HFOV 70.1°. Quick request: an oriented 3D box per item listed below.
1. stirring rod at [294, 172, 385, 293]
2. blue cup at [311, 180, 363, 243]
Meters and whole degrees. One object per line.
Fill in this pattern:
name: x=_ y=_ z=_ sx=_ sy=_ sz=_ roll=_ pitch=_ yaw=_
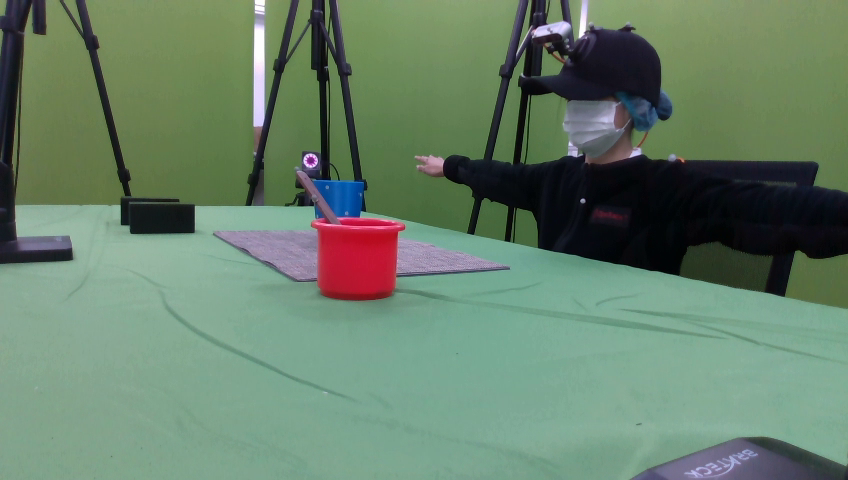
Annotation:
stirring rod: x=-0.092 y=-0.012 z=0.639 sx=0.014 sy=0.006 sz=0.175 roll=-2 pitch=48 yaw=-53
blue cup: x=-0.144 y=-0.047 z=0.997 sx=0.093 sy=0.100 sz=0.092 roll=2 pitch=6 yaw=0
